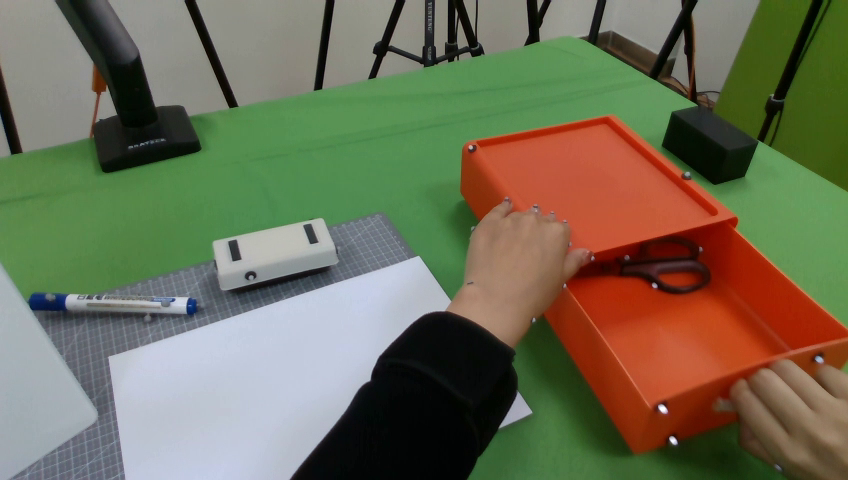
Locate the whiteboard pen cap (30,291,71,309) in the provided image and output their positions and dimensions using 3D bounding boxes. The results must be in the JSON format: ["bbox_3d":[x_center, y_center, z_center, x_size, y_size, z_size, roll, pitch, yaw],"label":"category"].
[{"bbox_3d":[-0.340,0.055,0.555,0.033,0.018,0.018,2,40,-6],"label":"whiteboard pen cap"}]

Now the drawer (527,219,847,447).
[{"bbox_3d":[0.216,0.055,0.534,0.195,0.074,0.209,-12,42,-14],"label":"drawer"}]

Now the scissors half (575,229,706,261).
[{"bbox_3d":[0.193,0.008,0.618,0.175,0.040,0.012,-6,38,15],"label":"scissors half"}]

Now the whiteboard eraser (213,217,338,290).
[{"bbox_3d":[-0.146,0.015,0.598,0.113,0.042,0.055,-14,41,-17],"label":"whiteboard eraser"}]

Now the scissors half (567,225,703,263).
[{"bbox_3d":[0.197,0.017,0.626,0.175,0.040,0.012,-19,39,28],"label":"scissors half"}]

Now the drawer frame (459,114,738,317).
[{"bbox_3d":[0.168,-0.036,0.638,0.202,0.083,0.211,-14,42,-16],"label":"drawer frame"}]

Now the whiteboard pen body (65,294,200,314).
[{"bbox_3d":[-0.280,0.058,0.559,0.141,0.017,0.017,2,40,-4],"label":"whiteboard pen body"}]

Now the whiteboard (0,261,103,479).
[{"bbox_3d":[-0.408,0.050,0.396,0.142,0.308,0.217,14,39,44],"label":"whiteboard"}]
